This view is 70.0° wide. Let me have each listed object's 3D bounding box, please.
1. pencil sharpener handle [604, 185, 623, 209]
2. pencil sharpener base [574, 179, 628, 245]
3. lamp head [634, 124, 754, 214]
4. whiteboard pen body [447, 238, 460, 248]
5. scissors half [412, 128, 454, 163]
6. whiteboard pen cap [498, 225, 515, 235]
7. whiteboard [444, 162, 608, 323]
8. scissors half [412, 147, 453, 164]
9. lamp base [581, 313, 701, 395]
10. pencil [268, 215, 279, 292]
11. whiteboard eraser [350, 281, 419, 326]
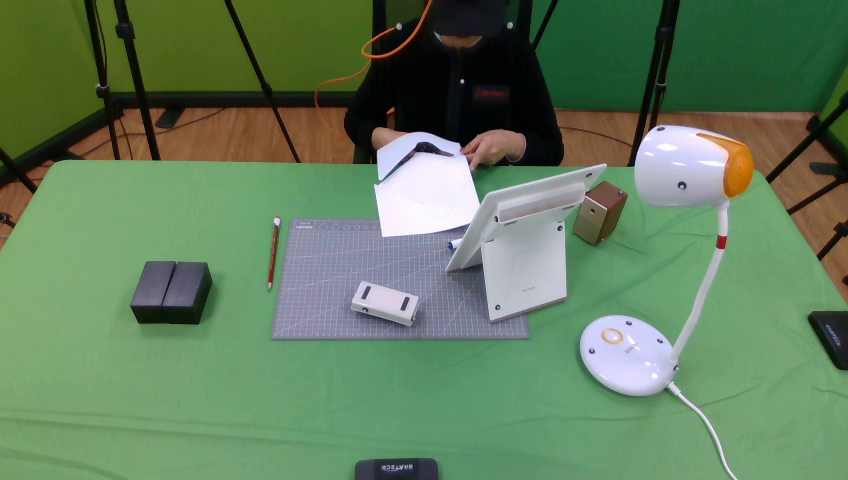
[{"bbox_3d":[0.390,-0.091,1.235,0.030,0.068,0.036,-33,69,-31],"label":"pencil sharpener handle"},{"bbox_3d":[0.355,-0.057,1.217,0.076,0.107,0.061,-33,56,-31],"label":"pencil sharpener base"},{"bbox_3d":[0.351,-0.089,0.775,0.112,0.113,0.122,-30,30,-28],"label":"lamp head"},{"bbox_3d":[0.112,-0.006,1.203,0.141,0.017,0.017,-14,49,-18],"label":"whiteboard pen body"},{"bbox_3d":[0.019,-0.213,1.376,0.013,0.040,0.174,-17,40,-26],"label":"scissors half"},{"bbox_3d":[0.166,-0.019,1.222,0.033,0.018,0.018,-14,49,-19],"label":"whiteboard pen cap"},{"bbox_3d":[0.186,0.025,1.029,0.217,0.306,0.143,-14,68,-18],"label":"whiteboard"},{"bbox_3d":[0.019,-0.192,1.385,0.013,0.040,0.174,-12,13,-28],"label":"scissors half"},{"bbox_3d":[0.361,0.144,0.972,0.178,0.181,0.160,34,53,23],"label":"lamp base"},{"bbox_3d":[-0.290,0.022,1.164,0.012,0.012,0.192,-2,48,-6],"label":"pencil"},{"bbox_3d":[-0.069,0.113,1.065,0.112,0.042,0.055,14,46,9],"label":"whiteboard eraser"}]
